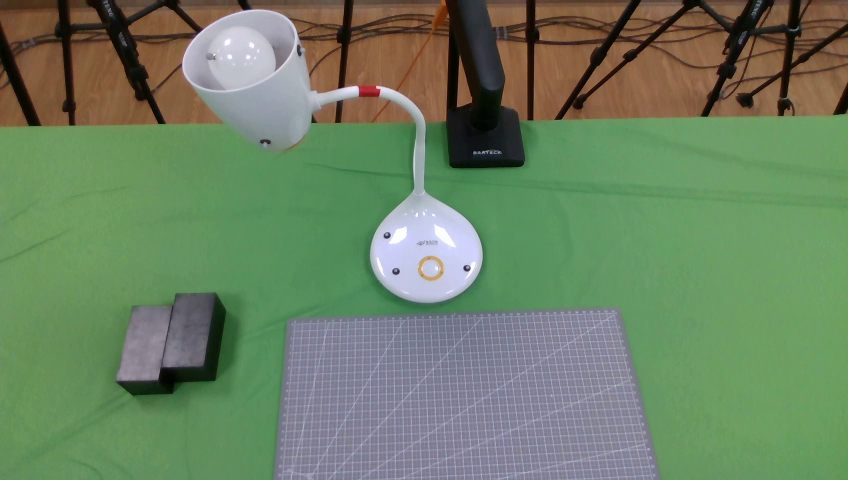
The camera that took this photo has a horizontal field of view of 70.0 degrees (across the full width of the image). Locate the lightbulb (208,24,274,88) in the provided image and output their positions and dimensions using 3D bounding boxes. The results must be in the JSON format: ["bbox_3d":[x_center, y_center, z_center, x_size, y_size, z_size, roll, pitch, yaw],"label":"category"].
[{"bbox_3d":[-0.168,-0.159,0.586,0.059,0.108,0.059,-3,63,6],"label":"lightbulb"}]

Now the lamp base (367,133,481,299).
[{"bbox_3d":[-0.002,-0.039,0.799,0.161,0.182,0.177,-13,57,-9],"label":"lamp base"}]

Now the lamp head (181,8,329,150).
[{"bbox_3d":[-0.159,-0.152,0.609,0.112,0.124,0.111,-7,59,12],"label":"lamp head"}]
